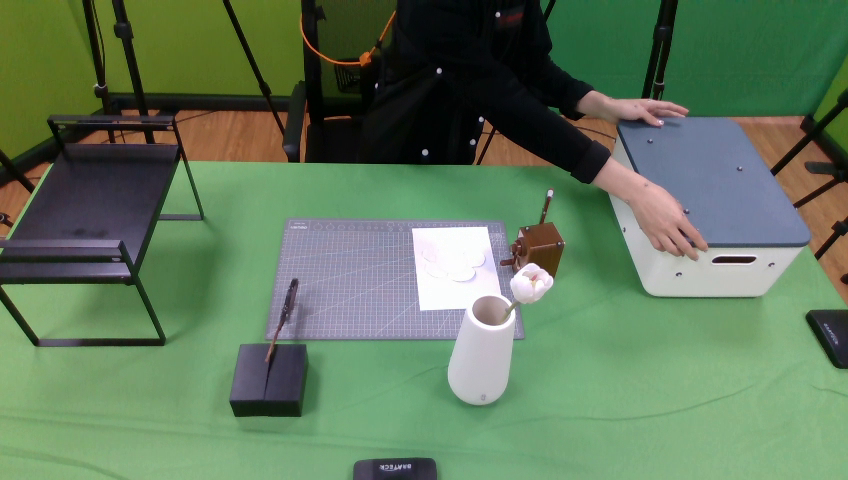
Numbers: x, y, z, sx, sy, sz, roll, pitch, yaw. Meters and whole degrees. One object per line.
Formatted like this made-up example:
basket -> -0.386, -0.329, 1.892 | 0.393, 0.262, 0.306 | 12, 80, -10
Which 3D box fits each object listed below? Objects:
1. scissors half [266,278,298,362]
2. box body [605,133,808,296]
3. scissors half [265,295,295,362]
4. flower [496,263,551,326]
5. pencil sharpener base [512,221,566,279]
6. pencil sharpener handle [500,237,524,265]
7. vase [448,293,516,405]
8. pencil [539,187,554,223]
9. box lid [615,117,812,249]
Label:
scissors half -> -0.234, 0.127, 0.993 | 0.013, 0.040, 0.174 | 12, 46, -4
box body -> 0.530, -0.066, 1.204 | 0.254, 0.161, 0.361 | 0, 46, -4
scissors half -> -0.239, 0.143, 1.005 | 0.013, 0.040, 0.174 | 17, 28, -7
flower -> 0.102, 0.120, 0.853 | 0.044, 0.363, 0.038 | -2, 64, -10
pencil sharpener base -> 0.209, 0.025, 1.130 | 0.077, 0.107, 0.061 | -9, 48, -12
pencil sharpener handle -> 0.159, 0.024, 1.111 | 0.031, 0.068, 0.035 | -9, 54, -12
vase -> 0.091, 0.169, 0.921 | 0.098, 0.201, 0.097 | 3, 47, -3
pencil -> 0.250, -0.049, 1.273 | 0.012, 0.012, 0.193 | 16, 48, 11
box lid -> 0.531, -0.121, 1.144 | 0.263, 0.015, 0.369 | -1, 46, -4
